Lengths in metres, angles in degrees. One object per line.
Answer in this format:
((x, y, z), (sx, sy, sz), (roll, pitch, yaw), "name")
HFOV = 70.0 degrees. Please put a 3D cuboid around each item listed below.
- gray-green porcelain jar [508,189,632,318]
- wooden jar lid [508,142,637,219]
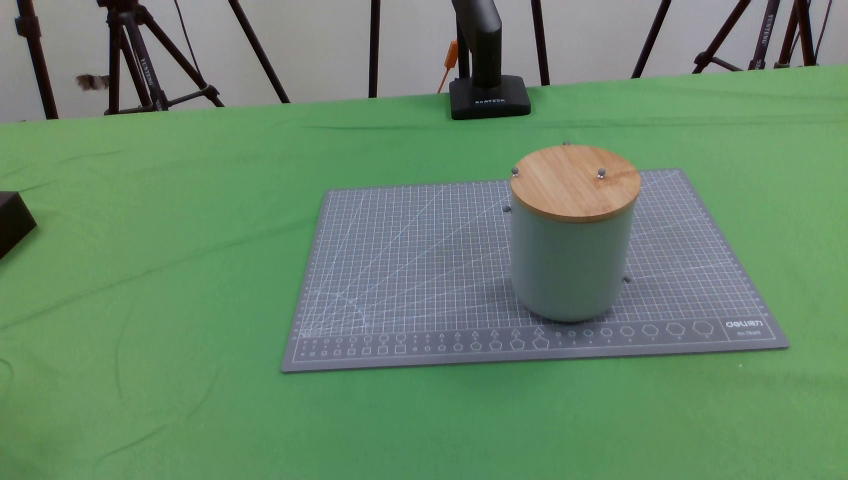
((0.130, 0.000, 0.558), (0.106, 0.127, 0.105), (-3, 39, 3), "gray-green porcelain jar")
((0.126, -0.048, 0.520), (0.108, 0.021, 0.107), (-4, 39, 4), "wooden jar lid")
